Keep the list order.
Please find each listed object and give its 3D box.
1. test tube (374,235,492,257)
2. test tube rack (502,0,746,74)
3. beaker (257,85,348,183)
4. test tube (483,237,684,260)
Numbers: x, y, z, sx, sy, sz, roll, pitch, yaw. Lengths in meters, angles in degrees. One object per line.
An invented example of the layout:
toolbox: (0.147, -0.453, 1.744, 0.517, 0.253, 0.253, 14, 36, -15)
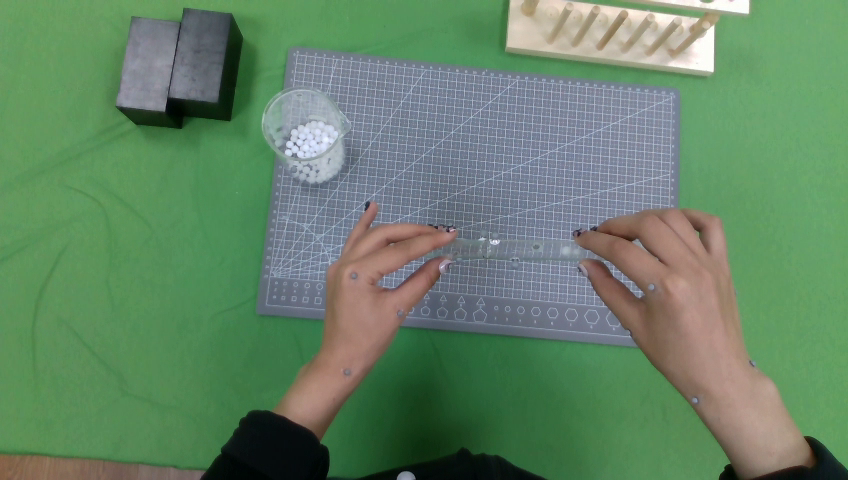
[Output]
test tube: (0.002, 0.005, 0.513, 0.017, 0.149, 0.017, 0, 90, -37)
test tube rack: (0.216, -0.246, 0.672, 0.242, 0.085, 0.066, 6, 81, -3)
beaker: (-0.117, -0.103, 0.616, 0.084, 0.100, 0.073, -2, 81, -5)
test tube: (0.119, 0.006, 0.454, 0.150, 0.017, 0.017, 1, 81, -1)
